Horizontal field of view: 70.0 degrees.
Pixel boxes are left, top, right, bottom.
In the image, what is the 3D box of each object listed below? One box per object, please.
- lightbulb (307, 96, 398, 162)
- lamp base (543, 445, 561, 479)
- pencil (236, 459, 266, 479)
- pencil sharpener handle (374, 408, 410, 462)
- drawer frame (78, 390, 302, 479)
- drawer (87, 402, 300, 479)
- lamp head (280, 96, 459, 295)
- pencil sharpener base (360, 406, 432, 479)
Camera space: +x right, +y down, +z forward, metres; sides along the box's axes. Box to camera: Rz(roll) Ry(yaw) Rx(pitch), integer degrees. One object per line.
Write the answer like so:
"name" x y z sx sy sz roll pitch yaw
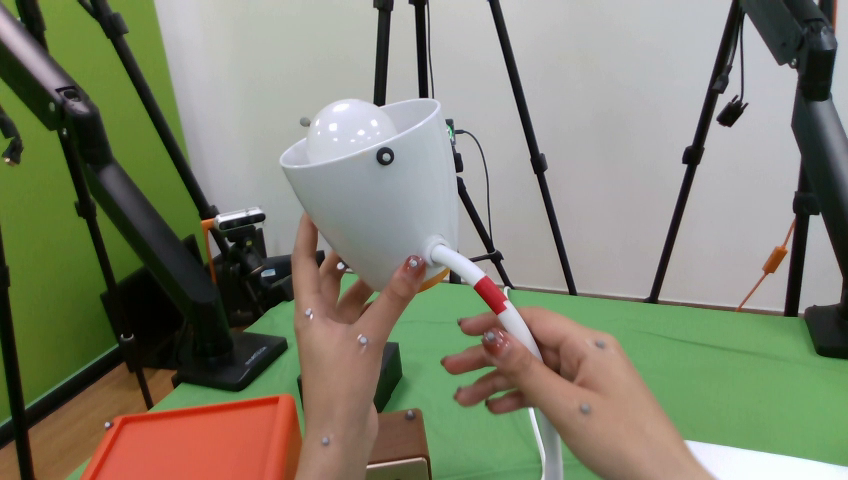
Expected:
"lightbulb" -0.036 -0.044 0.405 0.059 0.108 0.059 -20 30 12
"lamp base" 0.096 0.244 0.401 0.161 0.181 0.178 -9 19 -7
"pencil" -0.223 0.269 0.554 0.012 0.012 0.194 16 42 42
"pencil sharpener handle" -0.033 0.193 0.619 0.036 0.068 0.030 -2 22 -6
"drawer frame" -0.229 0.251 0.584 0.202 0.083 0.212 -8 22 -4
"drawer" -0.227 0.254 0.582 0.195 0.074 0.210 -7 21 -4
"lamp head" -0.021 -0.024 0.411 0.112 0.123 0.111 -20 19 8
"pencil sharpener base" -0.025 0.222 0.577 0.061 0.108 0.076 -7 23 -4
